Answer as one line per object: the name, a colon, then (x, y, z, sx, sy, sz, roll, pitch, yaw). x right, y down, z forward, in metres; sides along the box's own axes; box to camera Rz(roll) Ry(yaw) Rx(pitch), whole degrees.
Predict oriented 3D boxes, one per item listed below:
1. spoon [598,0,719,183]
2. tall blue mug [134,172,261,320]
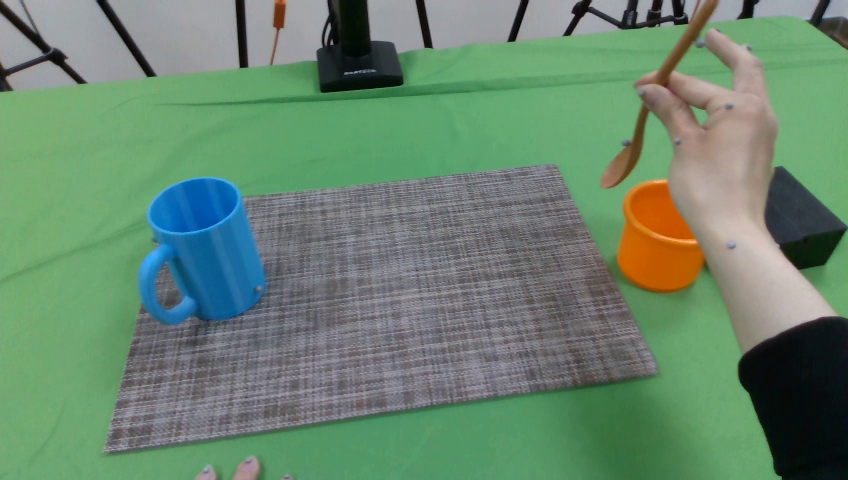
spoon: (0.172, -0.107, 0.462, 0.021, 0.195, 0.041, 18, 60, 8)
tall blue mug: (-0.197, 0.015, 0.536, 0.078, 0.109, 0.106, 0, 44, 0)
